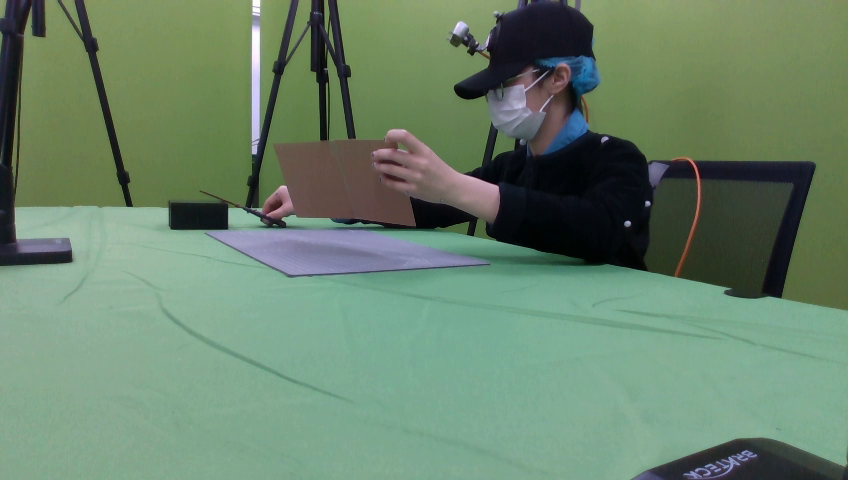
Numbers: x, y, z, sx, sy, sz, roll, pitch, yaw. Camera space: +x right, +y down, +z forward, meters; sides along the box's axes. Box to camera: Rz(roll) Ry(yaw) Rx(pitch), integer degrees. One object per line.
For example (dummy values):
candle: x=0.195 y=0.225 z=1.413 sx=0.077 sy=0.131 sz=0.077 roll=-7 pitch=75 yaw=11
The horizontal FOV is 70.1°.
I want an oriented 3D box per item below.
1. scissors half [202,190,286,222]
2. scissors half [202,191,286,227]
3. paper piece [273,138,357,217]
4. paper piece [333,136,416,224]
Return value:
scissors half: x=-0.364 y=-0.068 z=1.225 sx=0.176 sy=0.013 sz=0.040 roll=23 pitch=6 yaw=-27
scissors half: x=-0.358 y=-0.064 z=1.206 sx=0.175 sy=0.013 sz=0.040 roll=23 pitch=0 yaw=-11
paper piece: x=-0.181 y=-0.100 z=0.993 sx=0.135 sy=0.135 sz=0.004 roll=2 pitch=28 yaw=33
paper piece: x=-0.075 y=-0.091 z=0.913 sx=0.137 sy=0.136 sz=0.009 roll=7 pitch=33 yaw=41
